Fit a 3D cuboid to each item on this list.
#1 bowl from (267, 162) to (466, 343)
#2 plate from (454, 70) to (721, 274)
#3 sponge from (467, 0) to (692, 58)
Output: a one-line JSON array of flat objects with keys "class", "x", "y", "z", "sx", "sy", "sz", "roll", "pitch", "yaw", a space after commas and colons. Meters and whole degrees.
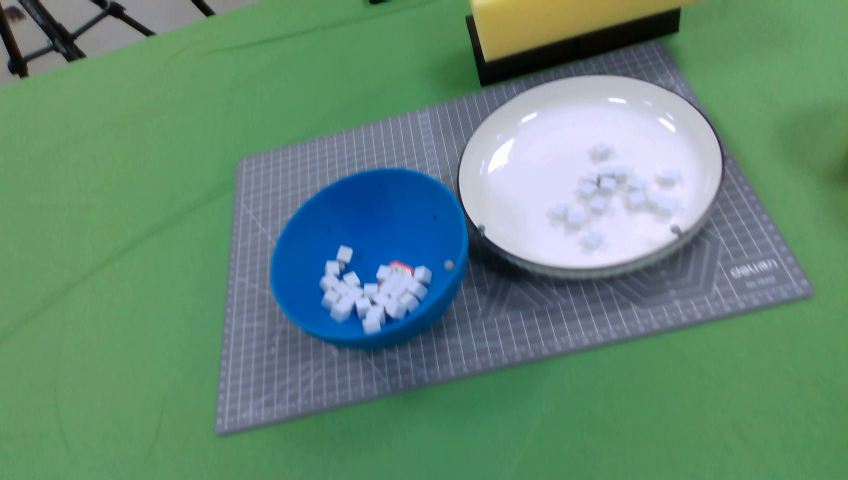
[{"class": "bowl", "x": -0.035, "y": 0.021, "z": 0.468, "sx": 0.151, "sy": 0.077, "sz": 0.150, "roll": -8, "pitch": 54, "yaw": 11}, {"class": "plate", "x": 0.129, "y": -0.057, "z": 0.501, "sx": 0.209, "sy": 0.038, "sz": 0.207, "roll": -8, "pitch": 54, "yaw": 11}, {"class": "sponge", "x": 0.139, "y": -0.255, "z": 0.567, "sx": 0.207, "sy": 0.061, "sz": 0.117, "roll": -14, "pitch": 53, "yaw": 6}]
